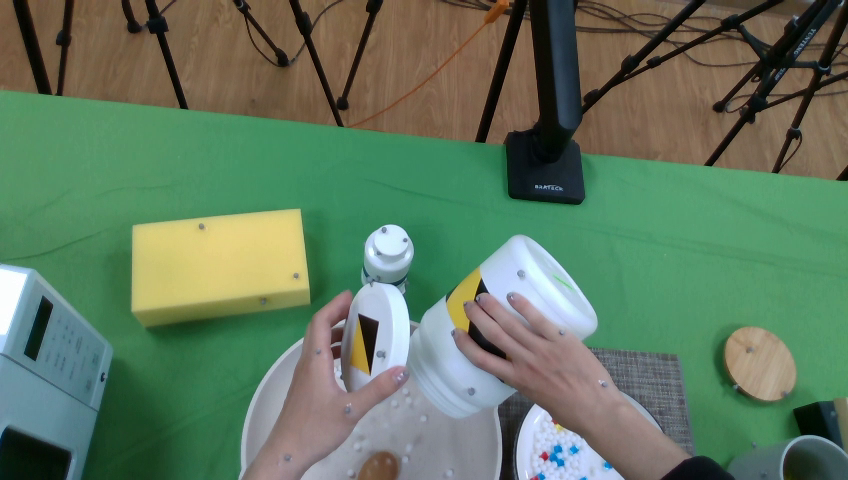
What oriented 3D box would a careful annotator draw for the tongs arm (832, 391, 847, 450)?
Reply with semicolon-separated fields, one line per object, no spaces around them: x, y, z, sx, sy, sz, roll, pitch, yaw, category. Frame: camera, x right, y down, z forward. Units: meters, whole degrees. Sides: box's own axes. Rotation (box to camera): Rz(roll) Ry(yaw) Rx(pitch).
0.567;0.380;0.740;0.051;0.026;0.382;1;75;-11;tongs arm

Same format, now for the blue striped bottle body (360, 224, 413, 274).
-0.049;0.019;0.790;0.063;0.121;0.062;4;64;-8;blue striped bottle body

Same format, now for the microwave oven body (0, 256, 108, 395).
-0.520;0.245;0.518;0.327;0.261;0.438;6;64;-8;microwave oven body

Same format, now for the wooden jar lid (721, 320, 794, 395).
0.473;0.168;0.866;0.108;0.021;0.107;4;66;-8;wooden jar lid

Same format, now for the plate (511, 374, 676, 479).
0.208;0.273;0.756;0.209;0.038;0.207;4;64;-7;plate

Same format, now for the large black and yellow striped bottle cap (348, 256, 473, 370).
-0.012;0.065;0.553;0.115;0.019;0.114;11;49;-13;large black and yellow striped bottle cap

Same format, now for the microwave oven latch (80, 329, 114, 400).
-0.381;0.143;0.699;0.030;0.029;0.078;5;65;-8;microwave oven latch

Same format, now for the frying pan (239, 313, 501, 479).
-0.019;0.311;0.662;0.307;0.103;0.483;-17;61;-16;frying pan

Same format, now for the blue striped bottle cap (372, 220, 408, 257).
-0.042;-0.003;0.743;0.044;0.021;0.044;4;61;-6;blue striped bottle cap

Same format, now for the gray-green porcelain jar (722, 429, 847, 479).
0.441;0.294;0.741;0.106;0.127;0.105;4;64;-8;gray-green porcelain jar

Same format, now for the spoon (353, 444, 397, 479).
-0.093;0.293;0.663;0.041;0.022;0.193;44;39;10;spoon

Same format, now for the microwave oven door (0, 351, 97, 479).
-0.377;0.294;0.512;0.039;0.245;0.353;5;64;-7;microwave oven door

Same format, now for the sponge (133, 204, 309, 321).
-0.258;0.027;0.783;0.207;0.061;0.117;-7;66;-14;sponge

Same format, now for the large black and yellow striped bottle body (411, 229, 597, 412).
0.078;0.092;0.662;0.184;0.131;0.130;-42;73;17;large black and yellow striped bottle body
